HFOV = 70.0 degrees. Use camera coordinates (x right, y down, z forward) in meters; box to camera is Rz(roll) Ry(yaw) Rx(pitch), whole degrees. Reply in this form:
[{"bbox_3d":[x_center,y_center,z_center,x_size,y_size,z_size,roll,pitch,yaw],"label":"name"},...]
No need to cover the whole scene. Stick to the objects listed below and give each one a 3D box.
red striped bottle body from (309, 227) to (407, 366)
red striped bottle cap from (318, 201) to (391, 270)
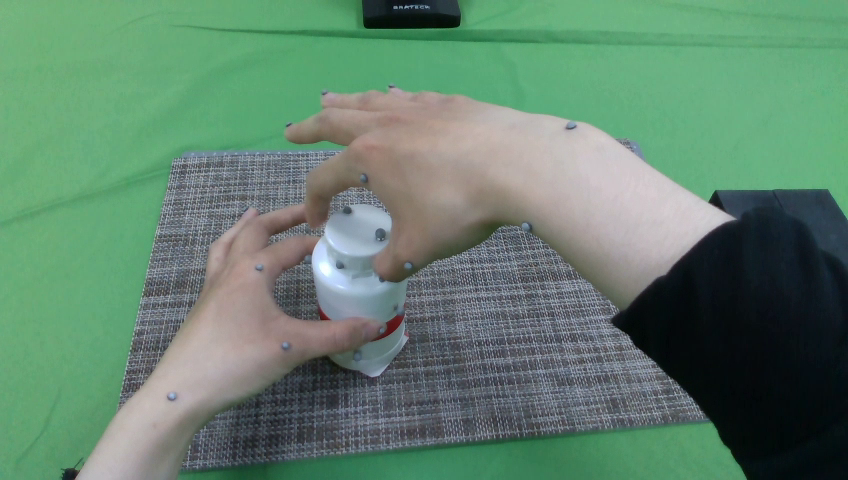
[{"bbox_3d":[-0.044,0.031,0.413,0.063,0.120,0.062,3,49,-3],"label":"red striped bottle body"},{"bbox_3d":[-0.042,-0.004,0.372,0.044,0.018,0.044,7,46,-7],"label":"red striped bottle cap"}]
